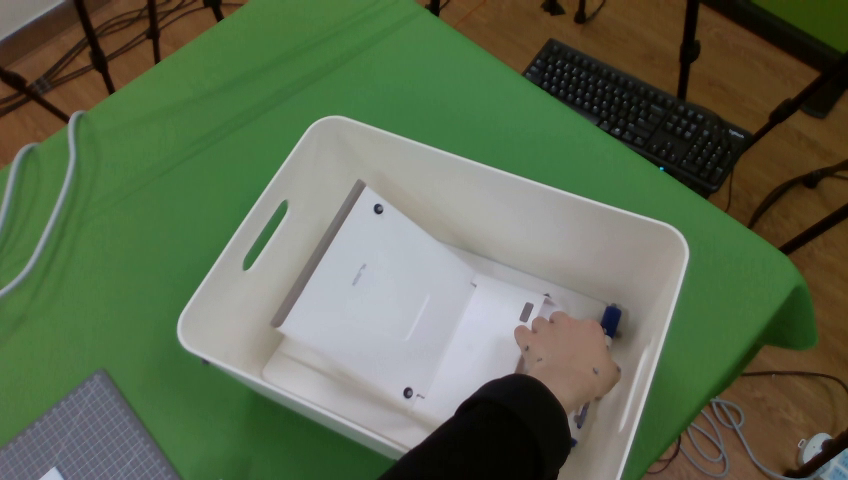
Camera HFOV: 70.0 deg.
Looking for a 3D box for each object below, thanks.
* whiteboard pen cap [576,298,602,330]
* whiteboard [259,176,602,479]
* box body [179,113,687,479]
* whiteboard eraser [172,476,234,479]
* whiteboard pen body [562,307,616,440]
[{"bbox_3d":[0.169,0.077,0.622,0.018,0.018,0.033,23,66,16],"label":"whiteboard pen cap"},{"bbox_3d":[0.004,0.068,0.578,0.304,0.145,0.216,19,63,14],"label":"whiteboard"},{"bbox_3d":[0.013,0.070,0.563,0.362,0.162,0.253,20,66,15],"label":"box body"},{"bbox_3d":[-0.207,0.271,0.542,0.055,0.042,0.112,-1,63,6],"label":"whiteboard eraser"},{"bbox_3d":[0.165,0.128,0.595,0.017,0.017,0.140,21,70,15],"label":"whiteboard pen body"}]
